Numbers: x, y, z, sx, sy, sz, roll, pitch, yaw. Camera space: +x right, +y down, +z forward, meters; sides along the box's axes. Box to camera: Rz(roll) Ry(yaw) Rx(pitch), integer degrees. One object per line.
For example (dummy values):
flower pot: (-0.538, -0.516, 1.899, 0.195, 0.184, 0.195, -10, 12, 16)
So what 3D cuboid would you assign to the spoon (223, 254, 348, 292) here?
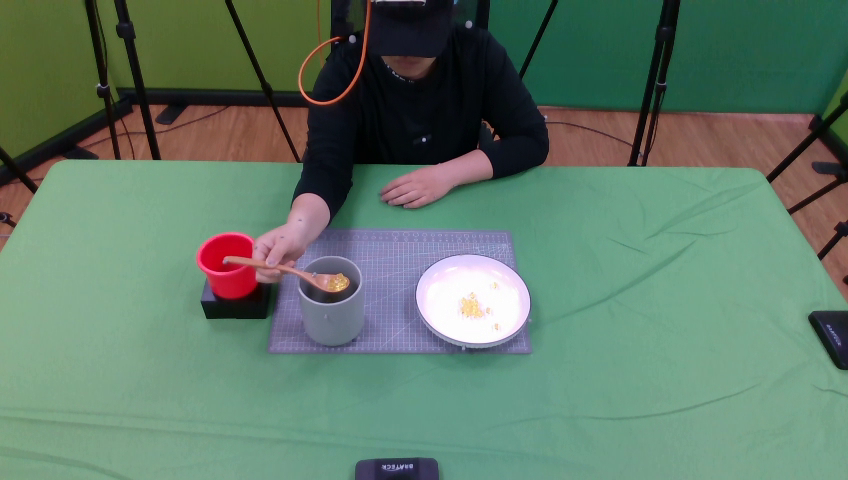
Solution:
spoon: (-0.214, 0.047, 0.945, 0.194, 0.022, 0.041, 18, 37, -13)

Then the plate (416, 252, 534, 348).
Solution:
plate: (0.090, 0.109, 1.084, 0.208, 0.039, 0.206, 2, 46, -2)

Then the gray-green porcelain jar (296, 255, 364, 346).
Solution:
gray-green porcelain jar: (-0.153, 0.106, 1.008, 0.106, 0.127, 0.105, 2, 46, -2)
